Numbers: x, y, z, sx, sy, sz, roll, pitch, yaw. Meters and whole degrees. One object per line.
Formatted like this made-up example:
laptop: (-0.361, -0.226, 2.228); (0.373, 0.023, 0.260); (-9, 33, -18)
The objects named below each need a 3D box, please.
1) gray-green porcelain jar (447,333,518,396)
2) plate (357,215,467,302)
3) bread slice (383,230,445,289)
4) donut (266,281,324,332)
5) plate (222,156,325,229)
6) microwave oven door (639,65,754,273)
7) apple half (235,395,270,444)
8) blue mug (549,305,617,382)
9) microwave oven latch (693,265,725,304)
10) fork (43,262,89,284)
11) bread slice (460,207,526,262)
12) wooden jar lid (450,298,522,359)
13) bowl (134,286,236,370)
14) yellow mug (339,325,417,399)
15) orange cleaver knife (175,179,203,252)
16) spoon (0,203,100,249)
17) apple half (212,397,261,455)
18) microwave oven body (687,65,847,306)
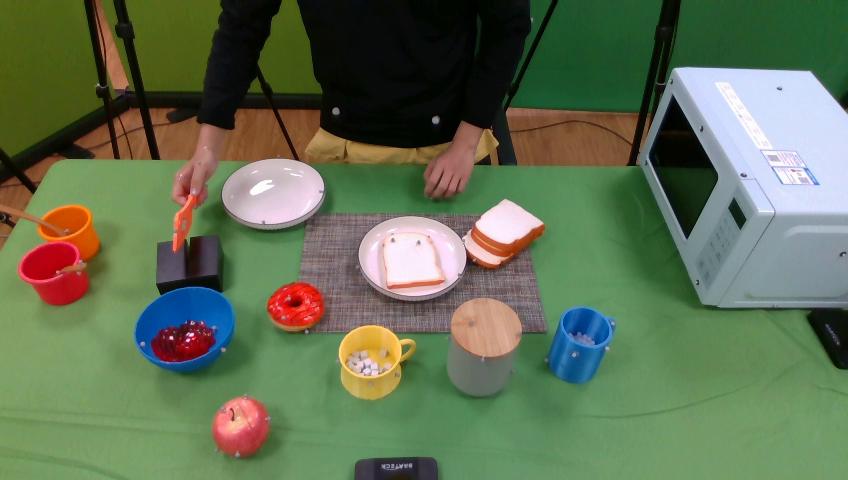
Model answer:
gray-green porcelain jar: (0.091, 0.178, 0.960); (0.106, 0.127, 0.105); (2, 47, -2)
plate: (-0.022, 0.037, 1.141); (0.208, 0.039, 0.206); (2, 46, -2)
bread slice: (-0.028, 0.035, 1.145); (0.107, 0.018, 0.133); (-7, 48, -11)
donut: (-0.222, 0.114, 1.049); (0.099, 0.048, 0.098); (2, 45, -2)
plate: (-0.308, -0.095, 1.251); (0.209, 0.038, 0.208); (3, 47, -2)
microwave oven door: (0.522, -0.147, 1.192); (0.039, 0.245, 0.353); (0, 47, -3)
apple half: (-0.245, 0.259, 0.893); (0.033, 0.082, 0.081); (-29, 55, -22)
blue mug: (0.269, 0.166, 0.998); (0.116, 0.106, 0.082); (-19, 51, -21)
microwave oven latch: (0.522, 0.081, 1.115); (0.030, 0.029, 0.078); (2, 46, -1)
fork: (-0.599, 0.053, 1.013); (0.207, 0.019, 0.028); (-14, 30, 45)
bread slice: (0.127, -0.008, 1.194); (0.104, 0.019, 0.131); (20, 49, 24)
wooden jar lid: (0.093, 0.135, 0.914); (0.108, 0.021, 0.107); (3, 48, -3)
bowl: (-0.377, 0.156, 0.981); (0.151, 0.077, 0.150); (2, 46, -2)
yellow mug: (-0.072, 0.190, 0.978); (0.131, 0.064, 0.099); (-17, 50, -20)
orange cleaver knife: (-0.433, -0.049, 1.118); (0.012, 0.077, 0.210); (5, 27, -10)
spoon: (-0.683, -0.031, 1.088); (0.195, 0.021, 0.041); (33, 33, -38)
apple half: (-0.276, 0.276, 0.877); (0.053, 0.075, 0.080); (-29, 58, -21)
microwave oven body: (0.669, -0.111, 1.176); (0.326, 0.261, 0.439); (0, 46, -3)
